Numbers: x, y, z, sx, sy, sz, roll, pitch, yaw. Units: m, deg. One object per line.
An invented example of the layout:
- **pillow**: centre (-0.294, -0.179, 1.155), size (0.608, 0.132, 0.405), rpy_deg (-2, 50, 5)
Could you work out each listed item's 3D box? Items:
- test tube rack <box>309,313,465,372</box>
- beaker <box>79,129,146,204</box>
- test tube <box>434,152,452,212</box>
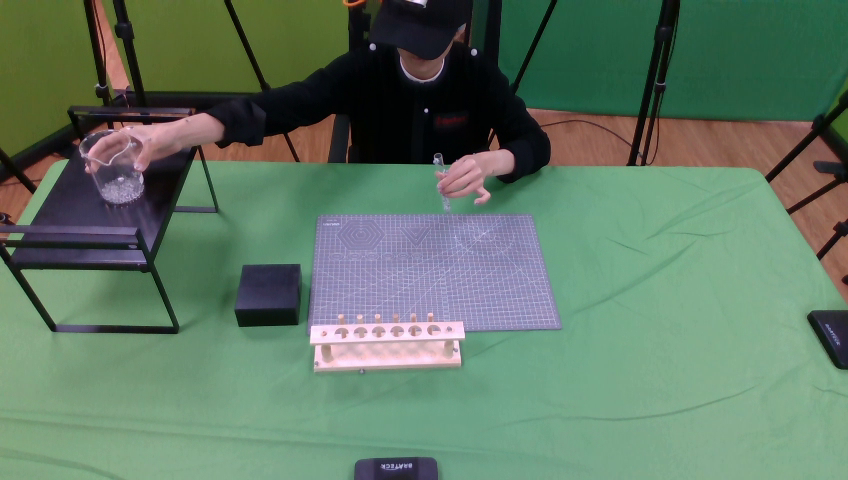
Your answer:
- **test tube rack**: centre (-0.059, 0.161, 0.990), size (0.242, 0.085, 0.066), rpy_deg (-1, 46, -5)
- **beaker**: centre (-0.491, -0.112, 0.966), size (0.074, 0.101, 0.083), rpy_deg (-15, 49, -16)
- **test tube**: centre (0.037, -0.106, 1.134), size (0.017, 0.151, 0.017), rpy_deg (-6, 51, 7)
